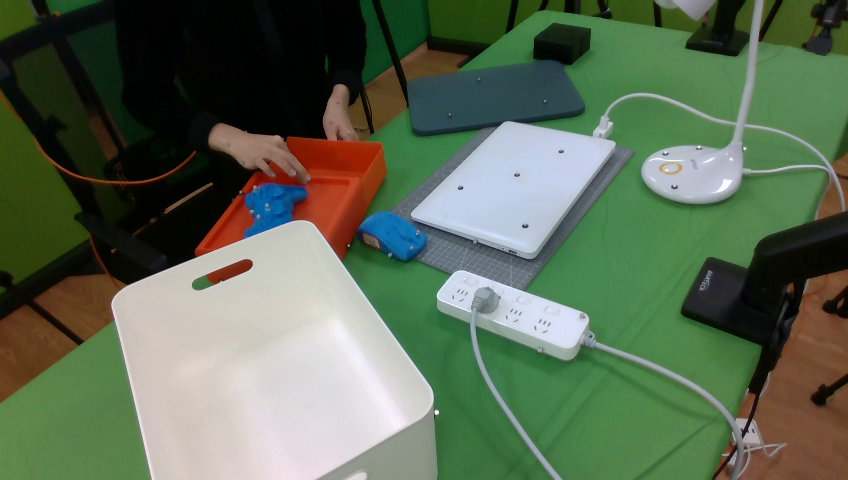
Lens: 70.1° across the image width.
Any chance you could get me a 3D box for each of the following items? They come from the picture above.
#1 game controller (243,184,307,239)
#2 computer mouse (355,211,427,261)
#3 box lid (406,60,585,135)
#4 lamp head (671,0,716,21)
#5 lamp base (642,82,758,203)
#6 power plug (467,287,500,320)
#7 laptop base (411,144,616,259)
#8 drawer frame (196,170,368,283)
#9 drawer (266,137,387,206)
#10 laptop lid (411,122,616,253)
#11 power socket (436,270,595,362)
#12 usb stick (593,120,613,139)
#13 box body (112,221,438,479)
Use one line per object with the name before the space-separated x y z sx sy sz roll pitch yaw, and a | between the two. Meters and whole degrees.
game controller | -0.226 -0.038 0.928 0.097 0.052 0.154 -14 40 -4
computer mouse | -0.054 -0.010 0.979 0.116 0.041 0.063 27 49 29
box lid | 0.150 -0.320 1.340 0.372 0.015 0.261 -8 40 0
lamp head | 0.375 -0.373 0.807 0.122 0.113 0.112 -40 27 32
lamp base | 0.464 -0.174 0.992 0.179 0.181 0.159 -5 41 -1
power plug | 0.072 0.092 0.814 0.035 0.053 0.073 30 54 34
laptop base | 0.168 -0.101 1.073 0.234 0.023 0.355 17 46 30
drawer frame | -0.220 -0.020 0.984 0.201 0.083 0.213 5 42 13
drawer | -0.191 -0.095 1.073 0.194 0.073 0.211 6 43 14
laptop lid | 0.165 -0.111 1.067 0.240 0.013 0.357 19 46 31
power socket | 0.118 0.101 0.832 0.225 0.033 0.072 19 48 27
usb stick | 0.336 -0.201 1.147 0.021 0.027 0.059 26 54 26
box body | -0.170 0.168 0.693 0.255 0.161 0.360 -24 43 -19
